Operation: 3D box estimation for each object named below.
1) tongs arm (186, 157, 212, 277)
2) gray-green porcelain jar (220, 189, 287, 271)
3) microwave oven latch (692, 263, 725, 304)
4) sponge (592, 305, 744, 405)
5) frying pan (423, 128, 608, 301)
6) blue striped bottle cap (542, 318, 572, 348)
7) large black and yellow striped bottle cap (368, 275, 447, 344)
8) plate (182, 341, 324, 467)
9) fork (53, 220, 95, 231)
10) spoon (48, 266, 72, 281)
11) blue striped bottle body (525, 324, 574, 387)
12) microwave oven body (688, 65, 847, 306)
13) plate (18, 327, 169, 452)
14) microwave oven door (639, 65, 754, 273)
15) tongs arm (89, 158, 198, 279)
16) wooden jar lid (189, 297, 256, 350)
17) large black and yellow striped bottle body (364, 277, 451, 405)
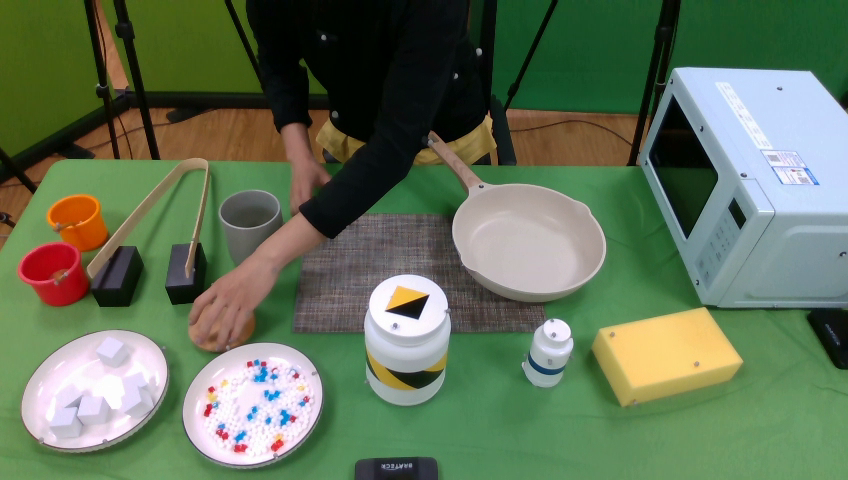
[{"bbox_3d":[-0.445,-0.058,1.168,0.051,0.026,0.382,-5,37,-6],"label":"tongs arm"},{"bbox_3d":[-0.309,-0.014,1.114,0.106,0.127,0.105,2,47,-2],"label":"gray-green porcelain jar"},{"bbox_3d":[0.522,0.081,1.116,0.030,0.029,0.078,1,46,-2],"label":"microwave oven latch"},{"bbox_3d":[0.405,0.190,1.015,0.207,0.061,0.117,-10,48,-12],"label":"sponge"},{"bbox_3d":[0.142,-0.069,1.208,0.307,0.103,0.485,-23,61,-25],"label":"frying pan"},{"bbox_3d":[0.205,0.143,0.933,0.044,0.021,0.044,0,47,0],"label":"blue striped bottle cap"},{"bbox_3d":[-0.024,0.098,0.871,0.115,0.019,0.114,2,45,-2],"label":"large black and yellow striped bottle cap"},{"bbox_3d":[-0.257,0.250,0.927,0.209,0.038,0.208,3,46,-3],"label":"plate"},{"bbox_3d":[-0.627,-0.026,1.086,0.028,0.018,0.207,0,2,-15],"label":"fork"},{"bbox_3d":[-0.609,0.057,1.010,0.041,0.022,0.193,-32,13,-27],"label":"spoon"},{"bbox_3d":[0.202,0.179,0.970,0.063,0.121,0.062,2,46,-2],"label":"blue striped bottle body"},{"bbox_3d":[0.669,-0.111,1.176,0.326,0.261,0.439,0,46,-3],"label":"microwave oven body"},{"bbox_3d":[-0.498,0.229,0.929,0.208,0.039,0.206,3,47,-2],"label":"plate"},{"bbox_3d":[0.522,-0.147,1.193,0.039,0.245,0.353,0,47,-3],"label":"microwave oven door"},{"bbox_3d":[-0.530,-0.057,1.164,0.028,0.028,0.385,0,36,8],"label":"tongs arm"},{"bbox_3d":[-0.342,0.145,1.033,0.108,0.021,0.107,3,44,-3],"label":"wooden jar lid"},{"bbox_3d":[-0.026,0.155,0.933,0.131,0.185,0.130,2,47,-2],"label":"large black and yellow striped bottle body"}]
